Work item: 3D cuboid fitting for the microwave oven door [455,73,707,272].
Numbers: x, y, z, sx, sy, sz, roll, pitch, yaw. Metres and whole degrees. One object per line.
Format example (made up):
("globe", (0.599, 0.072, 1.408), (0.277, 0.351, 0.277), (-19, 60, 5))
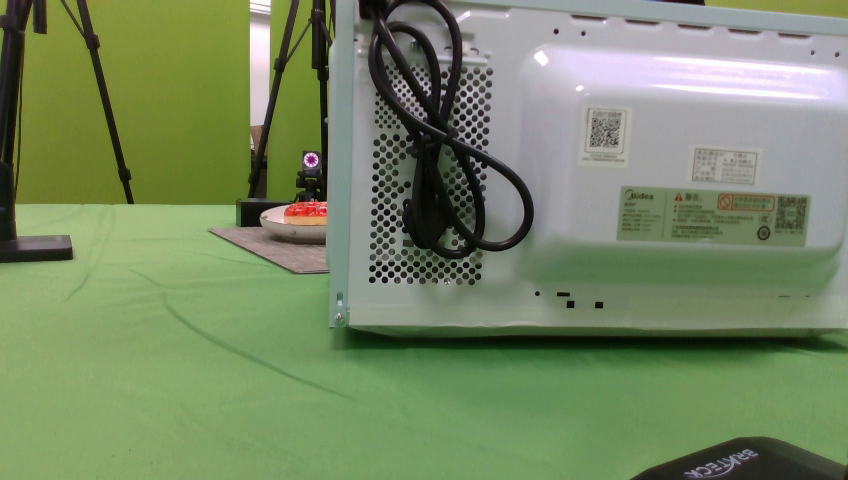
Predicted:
("microwave oven door", (0.197, -0.100, 0.849), (0.354, 0.243, 0.039), (8, 10, 40))

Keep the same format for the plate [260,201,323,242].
("plate", (-0.172, -0.031, 1.032), (0.209, 0.038, 0.209), (-1, 14, 1))

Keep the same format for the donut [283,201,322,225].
("donut", (-0.188, -0.041, 1.026), (0.099, 0.048, 0.099), (0, 11, 0))

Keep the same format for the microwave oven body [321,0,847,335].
("microwave oven body", (0.133, -0.062, 0.568), (0.443, 0.260, 0.325), (2, 6, -8))

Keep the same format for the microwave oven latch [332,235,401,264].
("microwave oven latch", (-0.066, 0.010, 0.700), (0.079, 0.029, 0.030), (2, 6, -8))
